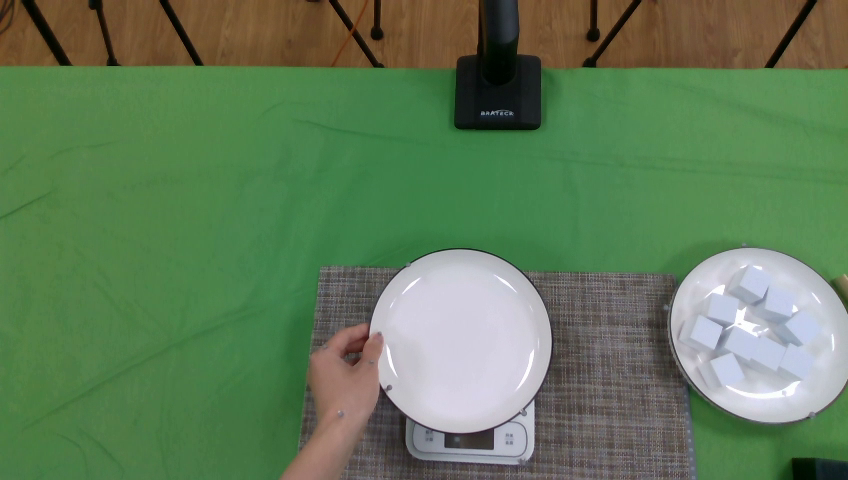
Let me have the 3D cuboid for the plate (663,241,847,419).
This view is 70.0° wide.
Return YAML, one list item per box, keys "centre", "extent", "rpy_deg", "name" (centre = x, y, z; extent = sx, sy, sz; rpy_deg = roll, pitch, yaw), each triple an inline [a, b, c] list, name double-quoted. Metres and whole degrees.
- centre: [0.385, 0.105, 0.713]
  extent: [0.207, 0.039, 0.206]
  rpy_deg: [-1, 71, 4]
  name: "plate"

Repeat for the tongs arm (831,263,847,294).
- centre: [0.590, 0.189, 0.675]
  extent: [0.028, 0.028, 0.385]
  rpy_deg: [-27, 72, -8]
  name: "tongs arm"

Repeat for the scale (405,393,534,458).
- centre: [0.055, 0.151, 0.720]
  extent: [0.148, 0.032, 0.199]
  rpy_deg: [1, 72, 5]
  name: "scale"

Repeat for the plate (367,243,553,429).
- centre: [0.040, 0.107, 0.688]
  extent: [0.209, 0.038, 0.208]
  rpy_deg: [-2, 73, 6]
  name: "plate"
